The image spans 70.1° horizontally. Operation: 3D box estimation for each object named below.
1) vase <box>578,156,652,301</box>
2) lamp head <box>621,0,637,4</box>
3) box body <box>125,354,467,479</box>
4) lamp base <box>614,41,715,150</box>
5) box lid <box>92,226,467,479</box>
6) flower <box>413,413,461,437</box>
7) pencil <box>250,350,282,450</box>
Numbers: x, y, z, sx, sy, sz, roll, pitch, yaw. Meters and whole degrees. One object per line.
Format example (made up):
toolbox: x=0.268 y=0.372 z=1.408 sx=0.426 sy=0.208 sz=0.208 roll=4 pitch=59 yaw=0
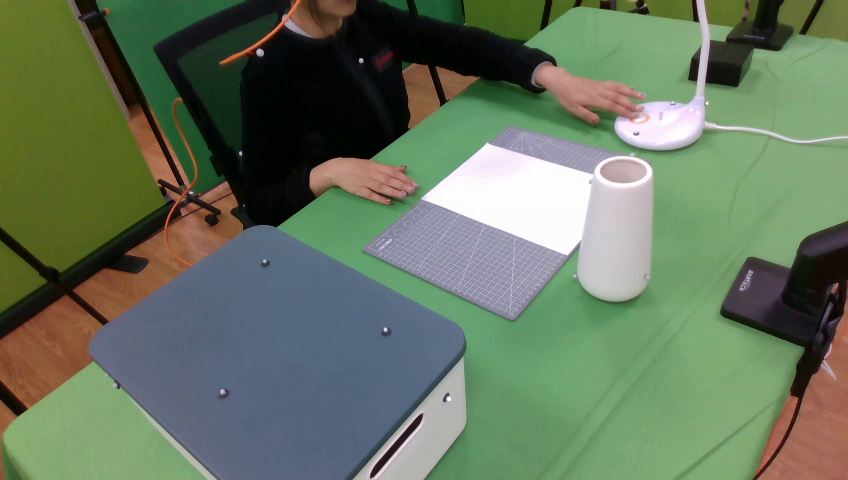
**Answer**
vase: x=0.261 y=-0.011 z=0.812 sx=0.098 sy=0.201 sz=0.097 roll=-4 pitch=40 yaw=4
lamp head: x=0.319 y=-0.453 z=0.962 sx=0.113 sy=0.123 sz=0.112 roll=20 pitch=33 yaw=-13
box body: x=-0.155 y=0.169 z=0.707 sx=0.361 sy=0.161 sz=0.255 roll=23 pitch=49 yaw=33
lamp base: x=0.449 y=-0.277 z=1.106 sx=0.179 sy=0.181 sz=0.160 roll=1 pitch=41 yaw=9
box lid: x=-0.167 y=0.110 z=0.661 sx=0.368 sy=0.015 sz=0.264 roll=24 pitch=50 yaw=33
flower: x=-0.120 y=0.203 z=0.774 sx=0.359 sy=0.038 sz=0.044 roll=2 pitch=77 yaw=25
pencil: x=-0.212 y=0.203 z=0.798 sx=0.012 sy=0.012 sz=0.192 roll=-22 pitch=36 yaw=-14
